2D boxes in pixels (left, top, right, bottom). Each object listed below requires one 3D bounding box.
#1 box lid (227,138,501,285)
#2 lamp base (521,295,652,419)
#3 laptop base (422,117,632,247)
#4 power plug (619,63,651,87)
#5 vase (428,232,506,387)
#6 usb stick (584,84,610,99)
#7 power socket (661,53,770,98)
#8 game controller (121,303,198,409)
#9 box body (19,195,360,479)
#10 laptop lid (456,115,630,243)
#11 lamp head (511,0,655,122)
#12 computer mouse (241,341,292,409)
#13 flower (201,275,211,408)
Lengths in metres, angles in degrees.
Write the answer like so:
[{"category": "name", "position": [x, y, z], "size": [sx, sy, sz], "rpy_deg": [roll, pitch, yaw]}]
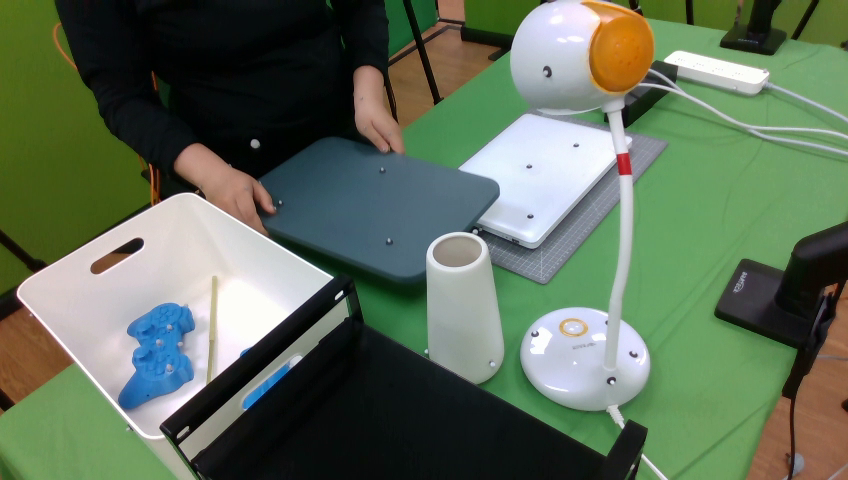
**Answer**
[{"category": "box lid", "position": [-0.092, -0.061, 0.933], "size": [0.369, 0.015, 0.264], "rpy_deg": [19, 44, 27]}, {"category": "lamp base", "position": [0.201, 0.095, 0.710], "size": [0.161, 0.181, 0.178], "rpy_deg": [-16, 43, -10]}, {"category": "laptop base", "position": [0.193, -0.118, 1.086], "size": [0.233, 0.023, 0.355], "rpy_deg": [20, 47, 35]}, {"category": "power plug", "position": [0.435, -0.341, 1.265], "size": [0.035, 0.053, 0.072], "rpy_deg": [5, 30, -14]}, {"category": "vase", "position": [0.050, 0.087, 0.728], "size": [0.098, 0.201, 0.097], "rpy_deg": [-3, 40, 3]}, {"category": "usb stick", "position": [0.353, -0.306, 1.252], "size": [0.027, 0.021, 0.058], "rpy_deg": [-3, 1, -39]}, {"category": "power socket", "position": [0.617, -0.355, 1.292], "size": [0.225, 0.033, 0.072], "rpy_deg": [29, 53, 35]}, {"category": "game controller", "position": [-0.364, 0.149, 0.828], "size": [0.097, 0.052, 0.154], "rpy_deg": [-13, 41, -9]}, {"category": "box body", "position": [-0.288, 0.118, 0.772], "size": [0.361, 0.161, 0.255], "rpy_deg": [26, 50, 33]}, {"category": "laptop lid", "position": [0.189, -0.126, 1.081], "size": [0.239, 0.013, 0.358], "rpy_deg": [23, 49, 34]}, {"category": "lamp head", "position": [0.155, -0.168, 0.563], "size": [0.113, 0.113, 0.122], "rpy_deg": [-18, 23, -12]}, {"category": "computer mouse", "position": [-0.201, 0.177, 0.775], "size": [0.063, 0.041, 0.116], "rpy_deg": [-11, 44, -8]}, {"category": "flower", "position": [-0.293, 0.162, 0.818], "size": [0.044, 0.038, 0.358], "rpy_deg": [5, 35, -26]}]
